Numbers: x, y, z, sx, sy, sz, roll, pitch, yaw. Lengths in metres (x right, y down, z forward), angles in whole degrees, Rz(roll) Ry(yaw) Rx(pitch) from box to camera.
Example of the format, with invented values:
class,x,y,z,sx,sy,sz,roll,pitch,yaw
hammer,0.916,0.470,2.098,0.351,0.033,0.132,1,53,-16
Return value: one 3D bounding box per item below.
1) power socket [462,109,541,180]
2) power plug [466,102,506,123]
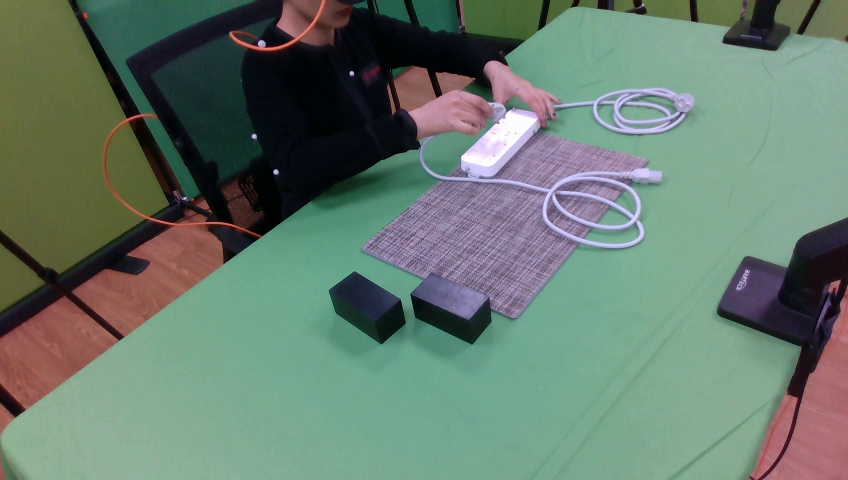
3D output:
class,x,y,z,sx,sy,sz,roll,pitch,yaw
power socket,0.151,-0.190,1.164,0.071,0.033,0.227,19,47,29
power plug,0.119,-0.235,1.133,0.072,0.053,0.035,-16,56,22
